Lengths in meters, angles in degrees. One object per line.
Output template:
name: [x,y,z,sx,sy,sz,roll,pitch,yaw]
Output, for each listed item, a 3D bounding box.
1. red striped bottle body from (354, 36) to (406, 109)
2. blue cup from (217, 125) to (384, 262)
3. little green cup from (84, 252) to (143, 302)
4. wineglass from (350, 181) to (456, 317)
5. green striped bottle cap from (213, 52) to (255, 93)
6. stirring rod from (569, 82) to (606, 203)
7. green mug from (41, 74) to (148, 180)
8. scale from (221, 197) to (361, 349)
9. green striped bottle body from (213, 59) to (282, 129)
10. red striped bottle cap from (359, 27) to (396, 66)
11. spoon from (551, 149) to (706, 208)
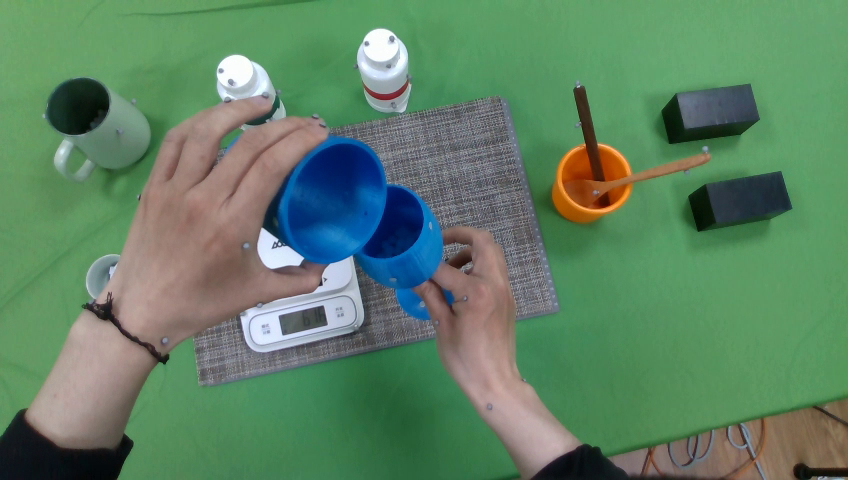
red striped bottle body: [-0.055,-0.219,0.772,0.063,0.120,0.063,0,78,0]
blue cup: [-0.093,-0.041,0.423,0.099,0.093,0.092,23,76,39]
little green cup: [-0.383,0.048,0.754,0.061,0.039,0.061,0,78,-1]
wineglass: [-0.015,0.015,0.518,0.073,0.173,0.073,-3,69,9]
green striped bottle cap: [-0.222,-0.196,0.708,0.044,0.020,0.044,0,78,2]
stirring rod: [0.200,-0.113,0.736,0.014,0.178,0.006,-1,43,29]
green mug: [-0.418,-0.133,0.758,0.092,0.105,0.125,23,79,4]
scale: [-0.168,0.026,0.761,0.149,0.031,0.200,-12,79,-3]
green striped bottle body: [-0.222,-0.183,0.762,0.063,0.119,0.063,0,78,0]
red striped bottle cap: [-0.056,-0.230,0.719,0.044,0.018,0.044,0,75,1]
spoon: [0.240,-0.075,0.730,0.022,0.193,0.041,-6,84,-46]
